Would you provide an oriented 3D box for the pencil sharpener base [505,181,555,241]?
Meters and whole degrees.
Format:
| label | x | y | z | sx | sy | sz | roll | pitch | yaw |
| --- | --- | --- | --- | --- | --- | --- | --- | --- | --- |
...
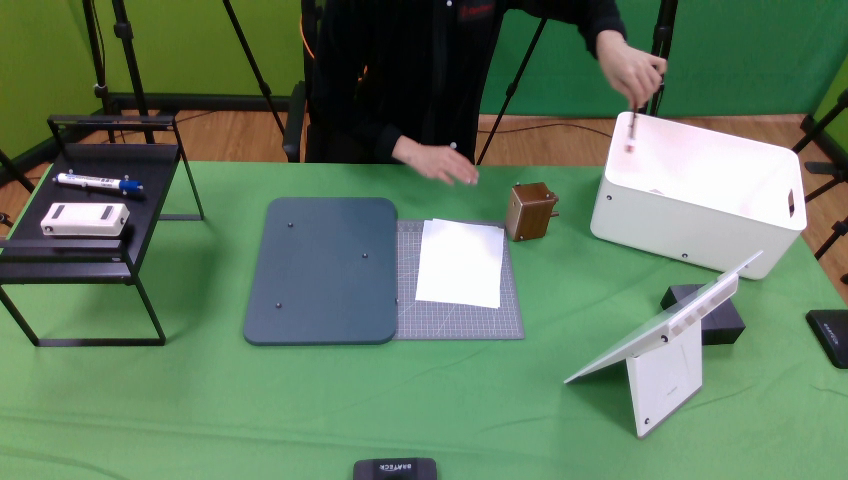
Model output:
| label | x | y | z | sx | sy | sz | roll | pitch | yaw |
| --- | --- | --- | --- | --- | --- | --- | --- | --- | --- |
| pencil sharpener base | 0.212 | -0.058 | 1.210 | 0.077 | 0.107 | 0.061 | -9 | 47 | -13 |

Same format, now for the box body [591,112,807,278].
| label | x | y | z | sx | sy | sz | roll | pitch | yaw |
| --- | --- | --- | --- | --- | --- | --- | --- | --- | --- |
| box body | 0.540 | -0.092 | 1.229 | 0.363 | 0.161 | 0.253 | 16 | 47 | 11 |

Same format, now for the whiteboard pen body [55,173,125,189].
| label | x | y | z | sx | sy | sz | roll | pitch | yaw |
| --- | --- | --- | --- | --- | --- | --- | --- | --- | --- |
| whiteboard pen body | -0.539 | -0.095 | 0.998 | 0.141 | 0.017 | 0.017 | 6 | 46 | 6 |

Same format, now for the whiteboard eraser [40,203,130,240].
| label | x | y | z | sx | sy | sz | roll | pitch | yaw |
| --- | --- | --- | --- | --- | --- | --- | --- | --- | --- |
| whiteboard eraser | -0.513 | -0.028 | 0.922 | 0.113 | 0.042 | 0.055 | 1 | 48 | -3 |

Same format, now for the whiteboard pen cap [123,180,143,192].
| label | x | y | z | sx | sy | sz | roll | pitch | yaw |
| --- | --- | --- | --- | --- | --- | --- | --- | --- | --- |
| whiteboard pen cap | -0.479 | -0.089 | 0.993 | 0.033 | 0.018 | 0.018 | 7 | 46 | 14 |

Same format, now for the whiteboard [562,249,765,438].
| label | x | y | z | sx | sy | sz | roll | pitch | yaw |
| --- | --- | --- | --- | --- | --- | --- | --- | --- | --- |
| whiteboard | 0.386 | 0.175 | 0.905 | 0.217 | 0.306 | 0.143 | -26 | 72 | -26 |

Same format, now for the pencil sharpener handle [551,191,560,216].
| label | x | y | z | sx | sy | sz | roll | pitch | yaw |
| --- | --- | --- | --- | --- | --- | --- | --- | --- | --- |
| pencil sharpener handle | 0.262 | -0.074 | 1.213 | 0.031 | 0.068 | 0.035 | -9 | 46 | -13 |

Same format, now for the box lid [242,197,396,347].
| label | x | y | z | sx | sy | sz | roll | pitch | yaw |
| --- | --- | --- | --- | --- | --- | --- | --- | --- | --- |
| box lid | -0.186 | 0.046 | 1.147 | 0.263 | 0.015 | 0.369 | 0 | 46 | -3 |

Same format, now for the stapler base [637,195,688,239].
| label | x | y | z | sx | sy | sz | roll | pitch | yaw |
| --- | --- | --- | --- | --- | --- | --- | --- | --- | --- |
| stapler base | 0.507 | -0.055 | 1.280 | 0.041 | 0.024 | 0.129 | -14 | 47 | -19 |

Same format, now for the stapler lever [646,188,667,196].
| label | x | y | z | sx | sy | sz | roll | pitch | yaw |
| --- | --- | --- | --- | --- | --- | --- | --- | --- | --- |
| stapler lever | 0.507 | -0.075 | 1.262 | 0.027 | 0.040 | 0.117 | -14 | 46 | -19 |

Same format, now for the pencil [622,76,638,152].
| label | x | y | z | sx | sy | sz | roll | pitch | yaw |
| --- | --- | --- | --- | --- | --- | --- | --- | --- | --- |
| pencil | 0.370 | -0.231 | 1.085 | 0.012 | 0.012 | 0.193 | 14 | 58 | 9 |
